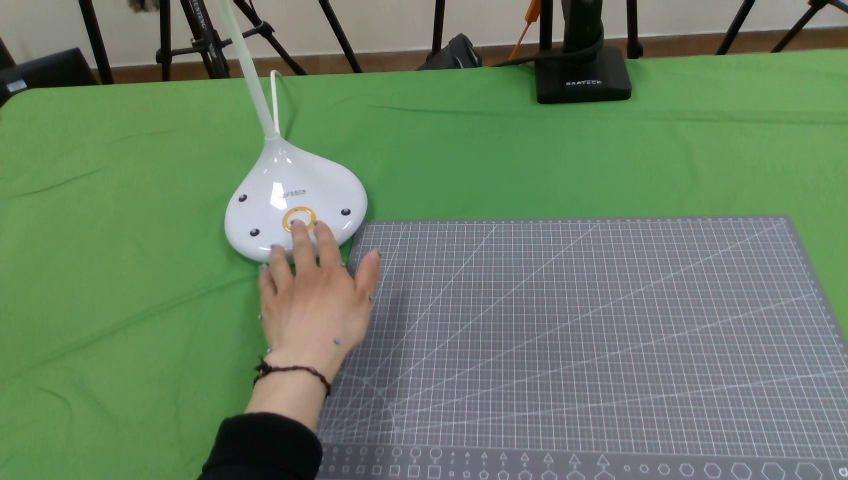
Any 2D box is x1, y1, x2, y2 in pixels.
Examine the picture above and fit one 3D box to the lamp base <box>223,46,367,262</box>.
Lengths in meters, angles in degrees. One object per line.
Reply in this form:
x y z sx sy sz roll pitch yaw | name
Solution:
-0.158 -0.096 0.633 0.161 0.182 0.177 -22 45 -13 | lamp base
